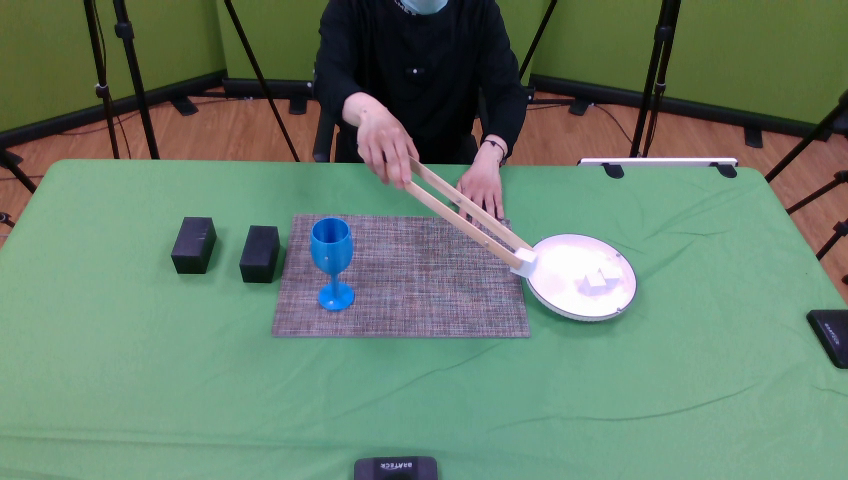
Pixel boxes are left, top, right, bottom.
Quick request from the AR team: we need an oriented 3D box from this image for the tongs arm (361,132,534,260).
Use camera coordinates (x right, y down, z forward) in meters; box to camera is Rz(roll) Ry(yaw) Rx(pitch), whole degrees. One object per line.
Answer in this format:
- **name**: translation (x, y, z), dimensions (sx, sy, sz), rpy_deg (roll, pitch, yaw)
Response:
- **tongs arm**: translation (0.031, -0.082, 1.070), dimensions (0.383, 0.026, 0.051), rpy_deg (40, 46, 22)

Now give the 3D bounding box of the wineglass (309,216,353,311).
- **wineglass**: translation (-0.156, 0.043, 1.032), dimensions (0.074, 0.173, 0.073), rpy_deg (2, 46, -2)

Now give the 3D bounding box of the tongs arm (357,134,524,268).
- **tongs arm**: translation (0.017, -0.073, 1.054), dimensions (0.386, 0.028, 0.028), rpy_deg (37, 48, 19)

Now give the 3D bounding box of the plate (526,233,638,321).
- **plate**: translation (0.292, 0.071, 1.135), dimensions (0.209, 0.038, 0.208), rpy_deg (2, 46, -2)
